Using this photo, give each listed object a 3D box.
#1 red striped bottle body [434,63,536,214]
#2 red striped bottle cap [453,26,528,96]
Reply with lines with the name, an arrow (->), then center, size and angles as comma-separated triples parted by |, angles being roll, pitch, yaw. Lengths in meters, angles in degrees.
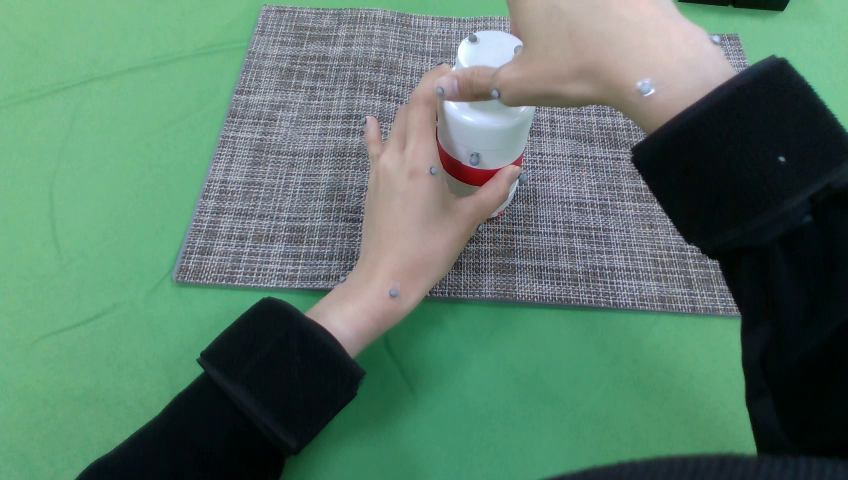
red striped bottle body -> 0.039, -0.076, 0.410 | 0.063, 0.120, 0.062 | 1, 57, -1
red striped bottle cap -> 0.040, -0.108, 0.363 | 0.044, 0.018, 0.044 | 1, 58, -2
